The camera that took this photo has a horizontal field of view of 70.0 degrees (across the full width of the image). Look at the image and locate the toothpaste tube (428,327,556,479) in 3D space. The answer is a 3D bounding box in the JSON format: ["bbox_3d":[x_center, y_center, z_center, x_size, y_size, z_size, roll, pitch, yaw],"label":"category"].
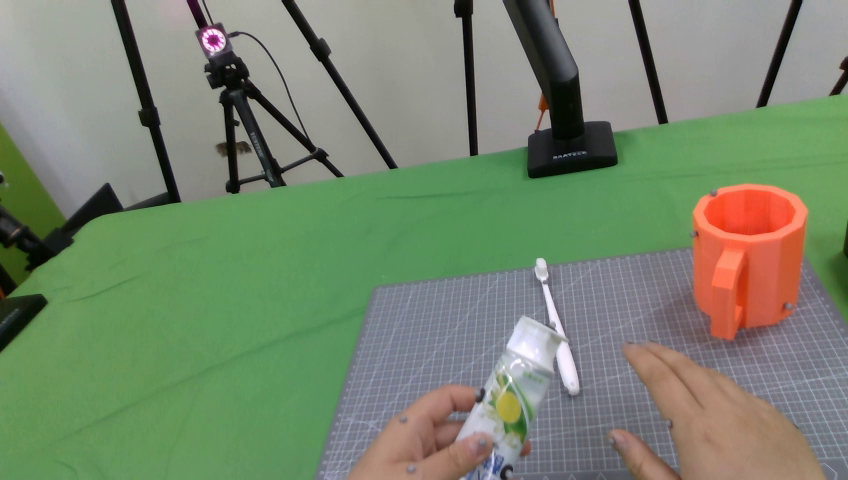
[{"bbox_3d":[0.040,0.130,0.392,0.054,0.035,0.165,24,83,27],"label":"toothpaste tube"}]

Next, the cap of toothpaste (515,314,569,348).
[{"bbox_3d":[0.077,0.061,0.398,0.037,0.038,0.011,21,81,43],"label":"cap of toothpaste"}]

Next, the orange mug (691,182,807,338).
[{"bbox_3d":[0.273,0.021,0.523,0.083,0.102,0.126,11,39,37],"label":"orange mug"}]

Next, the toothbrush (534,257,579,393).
[{"bbox_3d":[0.127,0.075,0.586,0.014,0.017,0.180,0,36,-1],"label":"toothbrush"}]
